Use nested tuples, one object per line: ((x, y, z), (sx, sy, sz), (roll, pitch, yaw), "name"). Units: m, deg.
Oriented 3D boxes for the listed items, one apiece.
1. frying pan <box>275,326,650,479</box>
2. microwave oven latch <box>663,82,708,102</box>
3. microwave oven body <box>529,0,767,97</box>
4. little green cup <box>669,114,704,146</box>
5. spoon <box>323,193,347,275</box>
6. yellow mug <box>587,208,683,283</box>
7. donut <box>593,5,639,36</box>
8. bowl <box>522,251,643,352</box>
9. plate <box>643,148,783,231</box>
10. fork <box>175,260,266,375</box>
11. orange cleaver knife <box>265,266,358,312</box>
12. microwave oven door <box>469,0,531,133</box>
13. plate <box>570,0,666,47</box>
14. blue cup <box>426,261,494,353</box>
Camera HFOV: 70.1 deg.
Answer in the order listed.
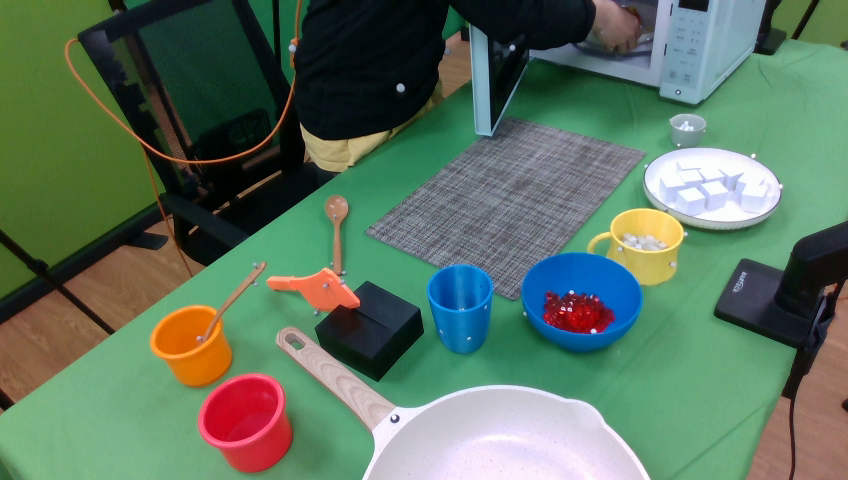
((0.003, 0.229, 0.641), (0.484, 0.103, 0.308), (34, 54, 28), "frying pan")
((0.518, -0.298, 1.202), (0.078, 0.029, 0.030), (30, 53, 36), "microwave oven latch")
((0.473, -0.516, 1.313), (0.438, 0.261, 0.327), (26, 51, 34), "microwave oven body")
((0.485, -0.203, 1.123), (0.061, 0.039, 0.061), (-5, 40, 5), "little green cup")
((-0.148, -0.014, 1.008), (0.042, 0.021, 0.192), (4, 39, -12), "spoon")
((0.305, 0.009, 0.884), (0.131, 0.064, 0.099), (-4, 41, 5), "yellow mug")
((0.427, -0.489, 1.347), (0.099, 0.048, 0.098), (-6, 41, 6), "donut")
((0.204, 0.093, 0.792), (0.151, 0.077, 0.150), (-4, 40, 4), "bowl")
((0.465, -0.080, 0.985), (0.207, 0.039, 0.206), (-4, 41, 4), "plate")
((-0.268, 0.103, 0.792), (0.207, 0.019, 0.028), (-51, 41, 16), "fork")
((-0.165, 0.073, 0.864), (0.210, 0.077, 0.012), (-6, 31, 50), "orange cleaver knife")
((0.163, -0.414, 1.231), (0.039, 0.245, 0.355), (9, 44, 19), "microwave oven door")
((0.435, -0.486, 1.368), (0.209, 0.038, 0.208), (-4, 42, 4), "plate")
((0.049, 0.095, 0.791), (0.092, 0.100, 0.092), (-3, 42, 3), "blue cup")
